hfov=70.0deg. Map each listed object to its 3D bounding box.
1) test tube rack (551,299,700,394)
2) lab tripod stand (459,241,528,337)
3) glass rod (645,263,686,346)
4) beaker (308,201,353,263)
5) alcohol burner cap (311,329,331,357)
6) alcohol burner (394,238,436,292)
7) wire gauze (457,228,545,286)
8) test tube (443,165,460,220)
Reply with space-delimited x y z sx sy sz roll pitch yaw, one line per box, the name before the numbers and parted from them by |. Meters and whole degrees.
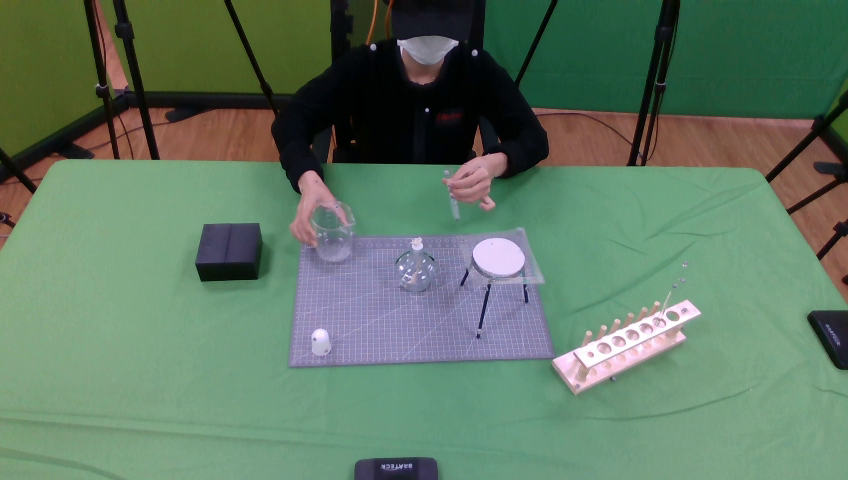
test tube rack | 0.339 0.166 1.021 0.242 0.085 0.066 -19 50 -21
lab tripod stand | 0.122 0.075 1.054 0.148 0.132 0.147 3 44 -3
glass rod | 0.392 0.110 0.986 0.008 0.201 0.008 2 42 -1
beaker | -0.170 -0.011 1.123 0.084 0.101 0.073 14 49 7
alcohol burner cap | -0.173 0.168 1.004 0.034 0.048 0.033 2 46 -2
alcohol burner | -0.016 0.038 1.093 0.078 0.119 0.077 2 48 -2
wire gauze | 0.126 0.029 1.006 0.125 0.011 0.120 -4 46 -10
test tube | 0.053 -0.088 1.157 0.017 0.151 0.017 -5 53 7
